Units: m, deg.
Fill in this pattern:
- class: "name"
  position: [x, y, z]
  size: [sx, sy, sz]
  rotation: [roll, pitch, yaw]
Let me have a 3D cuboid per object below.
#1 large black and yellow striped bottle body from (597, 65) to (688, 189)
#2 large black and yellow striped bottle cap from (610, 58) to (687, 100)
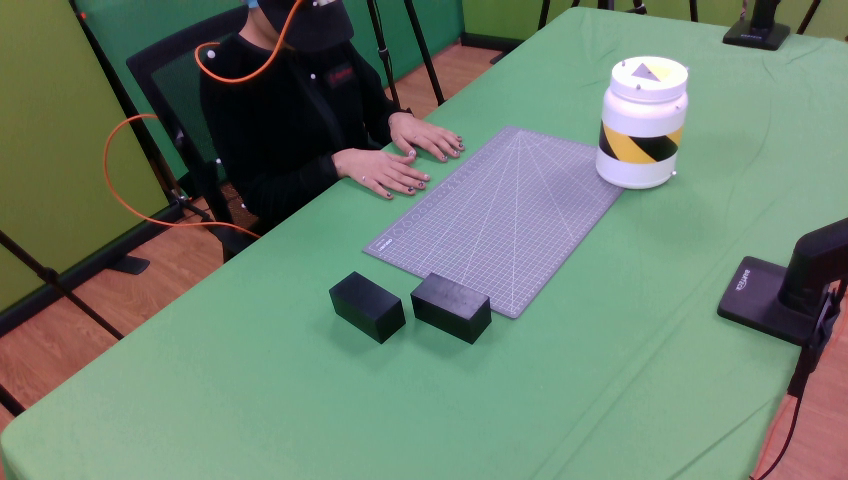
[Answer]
- class: "large black and yellow striped bottle body"
  position: [0.363, -0.192, 1.012]
  size: [0.131, 0.185, 0.130]
  rotation: [-4, 40, 4]
- class: "large black and yellow striped bottle cap"
  position: [0.355, -0.257, 0.958]
  size: [0.115, 0.019, 0.114]
  rotation: [-2, 41, 3]
